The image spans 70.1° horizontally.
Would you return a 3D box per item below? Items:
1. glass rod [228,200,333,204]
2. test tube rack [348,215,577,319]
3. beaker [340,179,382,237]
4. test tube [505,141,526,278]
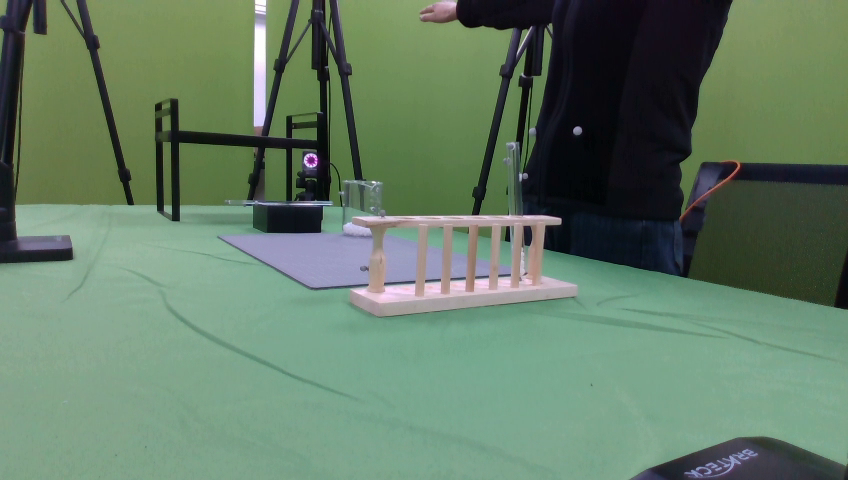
[{"bbox_3d":[-0.268,-0.071,1.143,0.201,0.008,0.008,-1,8,-29],"label":"glass rod"},{"bbox_3d":[0.048,0.021,0.619,0.244,0.085,0.066,-2,8,-31],"label":"test tube rack"},{"bbox_3d":[-0.113,-0.058,1.094,0.074,0.100,0.083,-2,10,-29],"label":"beaker"},{"bbox_3d":[0.101,-0.032,0.664,0.017,0.150,0.017,-5,8,1],"label":"test tube"}]
